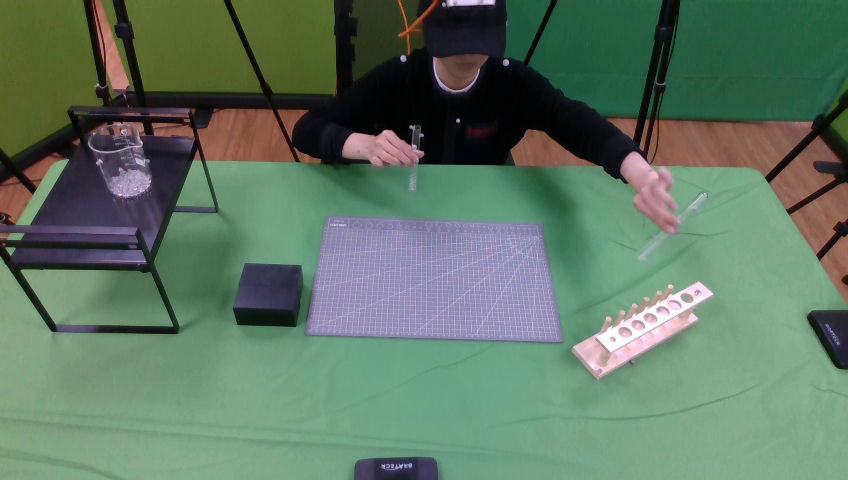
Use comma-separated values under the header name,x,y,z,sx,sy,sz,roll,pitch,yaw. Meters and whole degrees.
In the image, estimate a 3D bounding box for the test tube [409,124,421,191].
name,x,y,z,sx,sy,sz,roll,pitch,yaw
test tube,-0.018,-0.153,1.147,0.017,0.151,0.017,3,43,-3

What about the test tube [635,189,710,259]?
name,x,y,z,sx,sy,sz,roll,pitch,yaw
test tube,0.399,-0.025,0.974,0.017,0.150,0.017,36,20,-15

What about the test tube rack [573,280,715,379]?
name,x,y,z,sx,sy,sz,roll,pitch,yaw
test tube rack,0.378,0.140,1.038,0.242,0.085,0.066,-22,51,-23

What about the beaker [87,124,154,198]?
name,x,y,z,sx,sy,sz,roll,pitch,yaw
beaker,-0.482,-0.124,0.978,0.084,0.101,0.073,9,46,4
